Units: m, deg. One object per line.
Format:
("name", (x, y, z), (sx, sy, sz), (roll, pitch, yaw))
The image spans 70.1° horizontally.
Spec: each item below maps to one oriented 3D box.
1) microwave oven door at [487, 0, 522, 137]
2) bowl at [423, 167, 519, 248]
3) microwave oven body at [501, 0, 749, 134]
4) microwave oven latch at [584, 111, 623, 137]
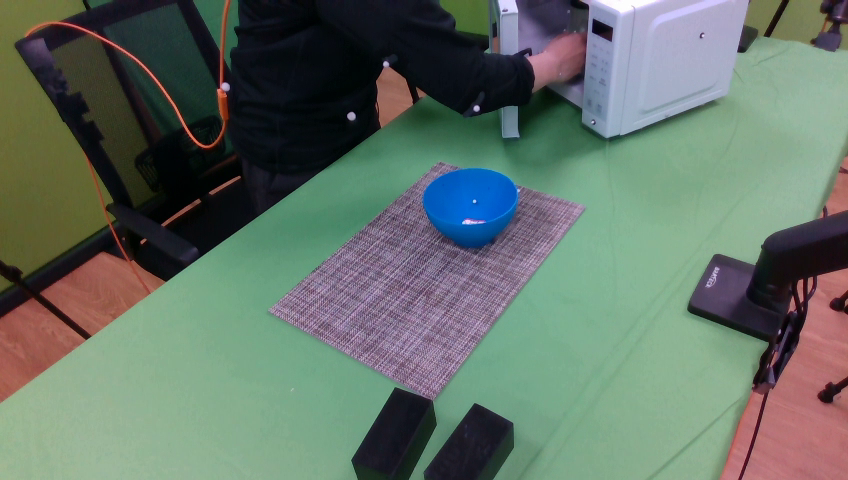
("microwave oven door", (0.158, -0.405, 1.222), (0.039, 0.245, 0.354), (-5, 41, 5))
("bowl", (0.075, -0.041, 0.958), (0.151, 0.077, 0.150), (-4, 40, 4))
("microwave oven body", (0.382, -0.445, 1.246), (0.327, 0.261, 0.437), (-22, 42, -16))
("microwave oven latch", (0.337, -0.222, 1.142), (0.030, 0.029, 0.078), (-21, 42, -14))
